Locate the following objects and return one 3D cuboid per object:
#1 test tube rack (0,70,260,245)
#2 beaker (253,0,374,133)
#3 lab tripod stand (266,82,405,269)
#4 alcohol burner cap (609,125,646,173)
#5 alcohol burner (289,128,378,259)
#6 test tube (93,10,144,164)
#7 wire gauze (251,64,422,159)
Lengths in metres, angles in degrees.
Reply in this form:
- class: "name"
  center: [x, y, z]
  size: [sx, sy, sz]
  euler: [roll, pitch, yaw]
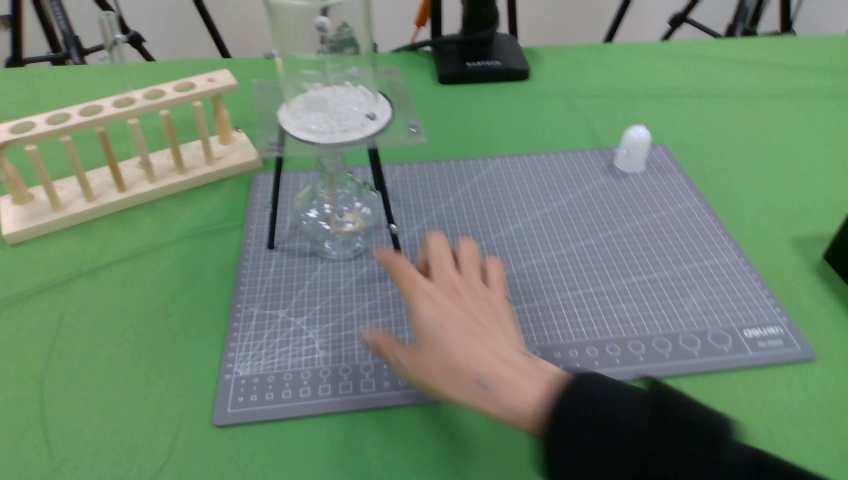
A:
- class: "test tube rack"
  center: [-0.295, -0.086, 0.593]
  size: [0.243, 0.086, 0.066]
  euler: [-22, 47, -22]
- class: "beaker"
  center: [-0.076, -0.135, 0.438]
  size: [0.084, 0.101, 0.073]
  euler: [-3, 42, -2]
- class: "lab tripod stand"
  center: [-0.073, -0.054, 0.518]
  size: [0.148, 0.133, 0.147]
  euler: [0, 45, 1]
- class: "alcohol burner cap"
  center: [0.215, -0.098, 0.635]
  size: [0.034, 0.048, 0.033]
  euler: [0, 43, 0]
- class: "alcohol burner"
  center: [-0.079, -0.042, 0.520]
  size: [0.078, 0.120, 0.077]
  euler: [0, 41, 0]
- class: "test tube"
  center: [-0.288, -0.140, 0.578]
  size: [0.017, 0.151, 0.017]
  euler: [3, 36, -1]
- class: "wire gauze"
  center: [-0.073, -0.102, 0.474]
  size: [0.125, 0.011, 0.120]
  euler: [-11, 42, -7]
